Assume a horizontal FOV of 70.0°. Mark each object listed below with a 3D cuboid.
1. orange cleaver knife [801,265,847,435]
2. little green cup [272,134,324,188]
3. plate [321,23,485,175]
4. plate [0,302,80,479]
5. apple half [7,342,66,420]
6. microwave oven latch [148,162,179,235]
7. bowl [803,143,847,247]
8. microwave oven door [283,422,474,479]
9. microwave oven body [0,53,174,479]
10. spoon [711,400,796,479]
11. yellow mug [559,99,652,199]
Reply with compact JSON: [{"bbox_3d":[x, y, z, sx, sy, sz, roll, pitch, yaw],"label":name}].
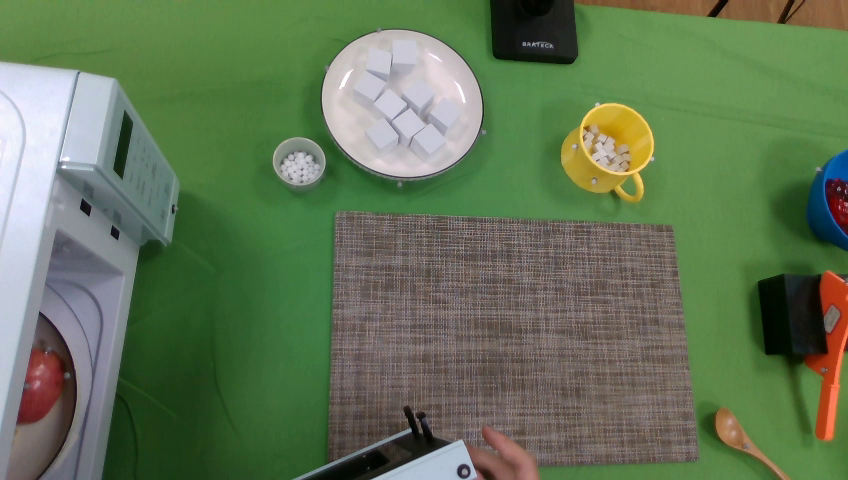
[{"bbox_3d":[0.506,0.139,0.767,0.012,0.077,0.212,3,99,-5],"label":"orange cleaver knife"},{"bbox_3d":[-0.152,-0.093,0.733,0.062,0.039,0.061,3,76,-10],"label":"little green cup"},{"bbox_3d":[-0.027,-0.178,0.778,0.208,0.039,0.206,2,76,-9],"label":"plate"},{"bbox_3d":[-0.429,0.149,0.563,0.209,0.038,0.208,2,75,-9],"label":"plate"},{"bbox_3d":[-0.384,0.131,0.568,0.081,0.033,0.081,2,76,-6],"label":"apple half"},{"bbox_3d":[-0.295,-0.048,0.680,0.030,0.029,0.079,6,76,-8],"label":"microwave oven latch"},{"bbox_3d":[0.582,-0.051,0.829,0.152,0.077,0.150,2,76,-9],"label":"bowl"},{"bbox_3d":[-0.145,0.247,0.527,0.356,0.244,0.039,-20,79,-14],"label":"microwave oven door"},{"bbox_3d":[-0.434,0.086,0.522,0.327,0.260,0.439,5,76,-9],"label":"microwave oven body"},{"bbox_3d":[0.425,0.273,0.750,0.193,0.022,0.041,43,57,3],"label":"spoon"},{"bbox_3d":[0.245,-0.112,0.793,0.100,0.064,0.130,-27,83,-15],"label":"yellow mug"}]
